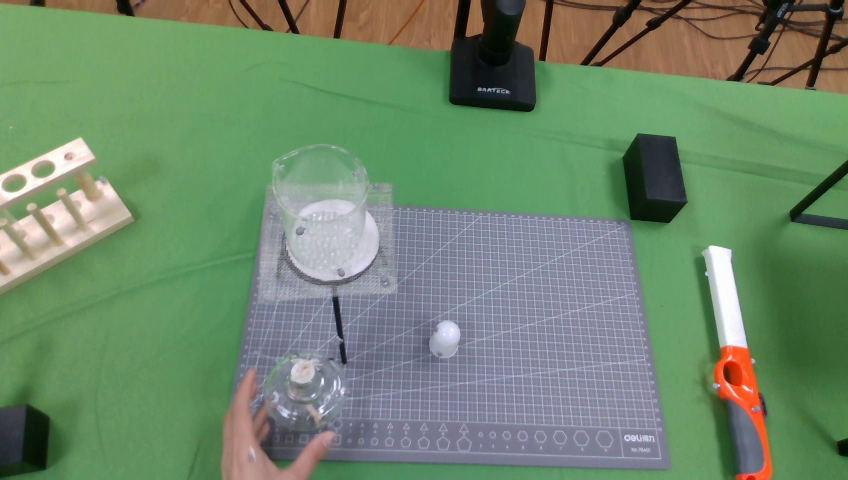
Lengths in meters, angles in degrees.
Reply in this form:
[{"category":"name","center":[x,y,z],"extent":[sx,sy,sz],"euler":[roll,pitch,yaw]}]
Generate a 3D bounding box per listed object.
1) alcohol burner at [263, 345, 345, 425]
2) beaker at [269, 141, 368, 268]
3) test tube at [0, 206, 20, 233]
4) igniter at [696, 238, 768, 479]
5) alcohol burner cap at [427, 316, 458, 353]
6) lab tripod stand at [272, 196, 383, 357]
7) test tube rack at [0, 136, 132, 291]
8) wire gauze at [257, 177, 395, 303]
[{"category":"alcohol burner","center":[-0.113,0.131,0.570],"extent":[0.078,0.120,0.077],"euler":[4,60,-6]},{"category":"beaker","center":[-0.090,-0.026,0.516],"extent":[0.084,0.101,0.073],"euler":[26,62,7]},{"category":"test tube","center":[-0.436,-0.050,0.594],"extent":[0.017,0.151,0.017],"euler":[4,56,-5]},{"category":"igniter","center":[0.342,0.122,0.678],"extent":[0.057,0.025,0.274],"euler":[11,61,-13]},{"category":"alcohol burner cap","center":[0.021,0.099,0.644],"extent":[0.034,0.048,0.033],"euler":[2,64,-3]},{"category":"lab tripod stand","center":[-0.094,0.031,0.615],"extent":[0.149,0.132,0.147],"euler":[4,62,-6]},{"category":"test tube rack","center":[-0.443,-0.004,0.624],"extent":[0.242,0.086,0.066],"euler":[-35,70,-22]},{"category":"wire gauze","center":[-0.091,-0.005,0.560],"extent":[0.121,0.011,0.124],"euler":[-2,66,-6]}]
